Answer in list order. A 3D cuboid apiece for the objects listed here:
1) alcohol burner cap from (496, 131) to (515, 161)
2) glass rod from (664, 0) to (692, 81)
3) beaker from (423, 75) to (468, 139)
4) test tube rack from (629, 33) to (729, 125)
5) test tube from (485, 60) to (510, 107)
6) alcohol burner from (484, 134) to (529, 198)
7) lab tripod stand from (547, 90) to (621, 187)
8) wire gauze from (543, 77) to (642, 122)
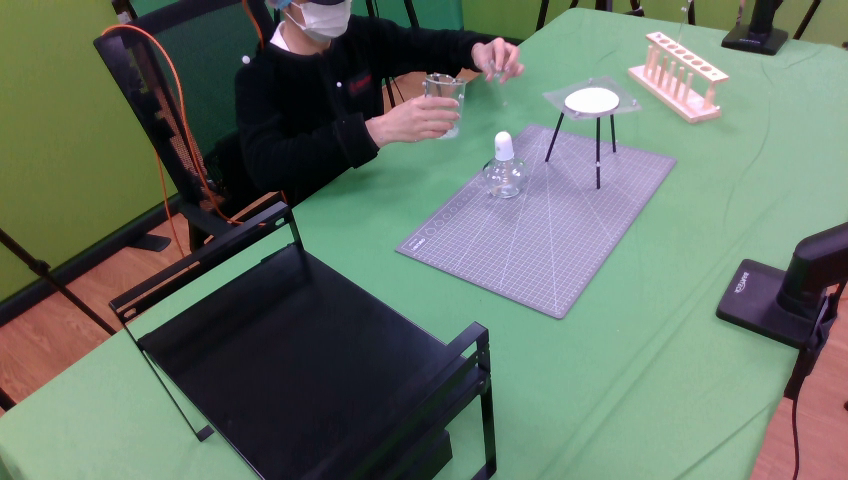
[{"bbox_3d":[0.135,-0.160,1.019,0.034,0.048,0.033,-8,38,7],"label":"alcohol burner cap"},{"bbox_3d":[0.524,-0.419,1.240,0.008,0.200,0.008,1,42,-1],"label":"glass rod"},{"bbox_3d":[0.037,-0.238,1.079,0.073,0.100,0.084,16,27,19],"label":"beaker"},{"bbox_3d":[0.516,-0.337,1.247,0.067,0.085,0.240,-14,41,-7],"label":"test tube rack"},{"bbox_3d":[0.144,-0.301,1.173,0.017,0.151,0.017,-7,70,19],"label":"test tube"},{"bbox_3d":[0.141,-0.133,1.041,0.078,0.119,0.077,-4,43,5],"label":"alcohol burner"},{"bbox_3d":[0.289,-0.184,1.062,0.148,0.132,0.147,-6,41,6],"label":"lab tripod stand"},{"bbox_3d":[0.282,-0.236,1.020,0.125,0.011,0.120,-15,40,-6],"label":"wire gauze"}]
